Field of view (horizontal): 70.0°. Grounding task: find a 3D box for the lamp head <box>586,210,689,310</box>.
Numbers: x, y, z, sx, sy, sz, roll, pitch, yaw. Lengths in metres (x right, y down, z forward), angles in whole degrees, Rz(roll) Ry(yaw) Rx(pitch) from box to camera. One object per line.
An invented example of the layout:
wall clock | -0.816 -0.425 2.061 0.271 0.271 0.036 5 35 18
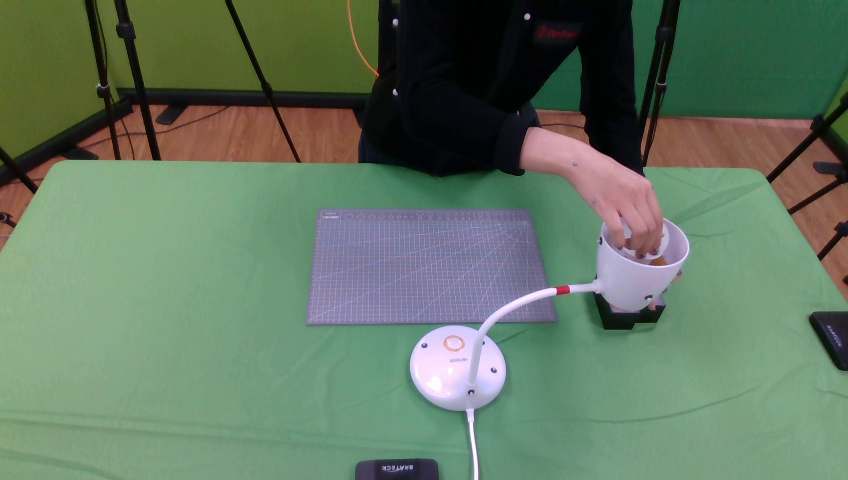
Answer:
lamp head | 0.280 0.038 0.821 0.112 0.123 0.111 6 41 -5

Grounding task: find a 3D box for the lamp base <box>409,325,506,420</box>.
lamp base | 0.064 0.164 0.937 0.161 0.181 0.178 -11 51 -14

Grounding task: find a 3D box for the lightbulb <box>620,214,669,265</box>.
lightbulb | 0.285 0.014 0.801 0.059 0.108 0.059 0 43 0
